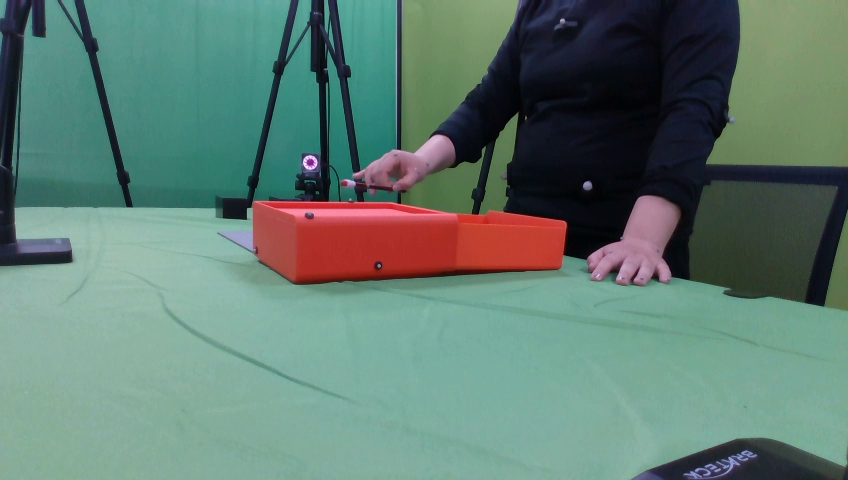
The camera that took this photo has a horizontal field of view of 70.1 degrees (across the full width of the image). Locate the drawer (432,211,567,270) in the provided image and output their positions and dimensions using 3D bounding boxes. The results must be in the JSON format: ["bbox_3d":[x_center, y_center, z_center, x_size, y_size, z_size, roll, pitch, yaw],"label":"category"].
[{"bbox_3d":[0.063,-0.005,0.878,0.213,0.073,0.193,1,7,-30],"label":"drawer"}]

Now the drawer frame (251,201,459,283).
[{"bbox_3d":[-0.095,-0.005,0.788,0.215,0.082,0.200,-2,10,-30],"label":"drawer frame"}]

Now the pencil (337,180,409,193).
[{"bbox_3d":[-0.079,-0.088,1.019,0.012,0.012,0.195,7,4,33],"label":"pencil"}]
